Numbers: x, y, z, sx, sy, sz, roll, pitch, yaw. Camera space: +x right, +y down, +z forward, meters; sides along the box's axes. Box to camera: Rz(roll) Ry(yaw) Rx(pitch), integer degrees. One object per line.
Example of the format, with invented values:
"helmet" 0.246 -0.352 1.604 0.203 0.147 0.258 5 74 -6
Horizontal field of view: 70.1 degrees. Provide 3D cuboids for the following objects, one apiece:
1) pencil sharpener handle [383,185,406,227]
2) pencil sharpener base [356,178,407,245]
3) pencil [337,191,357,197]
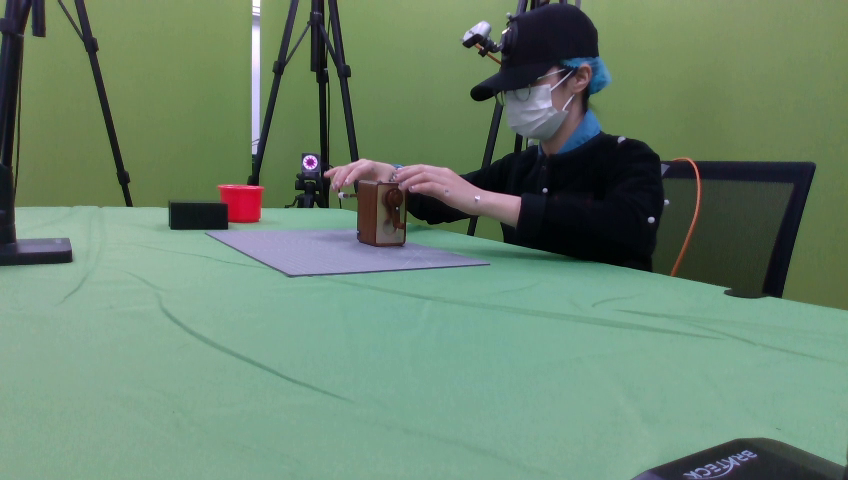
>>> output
"pencil sharpener handle" -0.042 -0.055 0.975 0.036 0.067 0.030 -10 13 -31
"pencil sharpener base" -0.071 -0.049 1.018 0.062 0.107 0.076 -2 9 -32
"pencil" -0.120 -0.084 1.098 0.012 0.012 0.193 -2 4 -29
